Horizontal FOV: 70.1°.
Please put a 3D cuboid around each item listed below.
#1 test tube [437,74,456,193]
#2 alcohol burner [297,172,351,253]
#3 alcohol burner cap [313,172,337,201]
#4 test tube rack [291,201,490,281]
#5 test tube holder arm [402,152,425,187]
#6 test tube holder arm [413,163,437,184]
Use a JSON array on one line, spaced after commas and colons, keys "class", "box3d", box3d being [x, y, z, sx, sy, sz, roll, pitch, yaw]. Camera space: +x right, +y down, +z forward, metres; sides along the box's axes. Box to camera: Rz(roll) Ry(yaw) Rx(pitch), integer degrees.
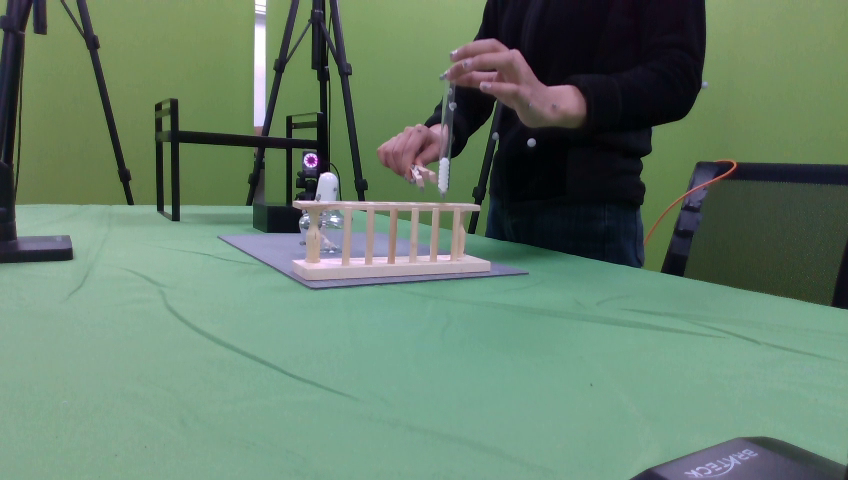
[{"class": "test tube", "box3d": [0.029, -0.134, 0.774, 0.017, 0.150, 0.017, 3, 11, 0]}, {"class": "alcohol burner", "box3d": [-0.146, -0.041, 0.894, 0.078, 0.119, 0.078, 5, 7, 0]}, {"class": "alcohol burner cap", "box3d": [-0.144, -0.076, 0.888, 0.034, 0.048, 0.034, 8, 6, -1]}, {"class": "test tube rack", "box3d": [-0.035, -0.002, 0.745, 0.243, 0.085, 0.066, -1, 8, -28]}, {"class": "test tube holder arm", "box3d": [-0.018, -0.109, 0.908, 0.013, 0.015, 0.178, -13, 21, -6]}, {"class": "test tube holder arm", "box3d": [-0.002, -0.096, 0.868, 0.010, 0.015, 0.087, -18, 22, -16]}]
